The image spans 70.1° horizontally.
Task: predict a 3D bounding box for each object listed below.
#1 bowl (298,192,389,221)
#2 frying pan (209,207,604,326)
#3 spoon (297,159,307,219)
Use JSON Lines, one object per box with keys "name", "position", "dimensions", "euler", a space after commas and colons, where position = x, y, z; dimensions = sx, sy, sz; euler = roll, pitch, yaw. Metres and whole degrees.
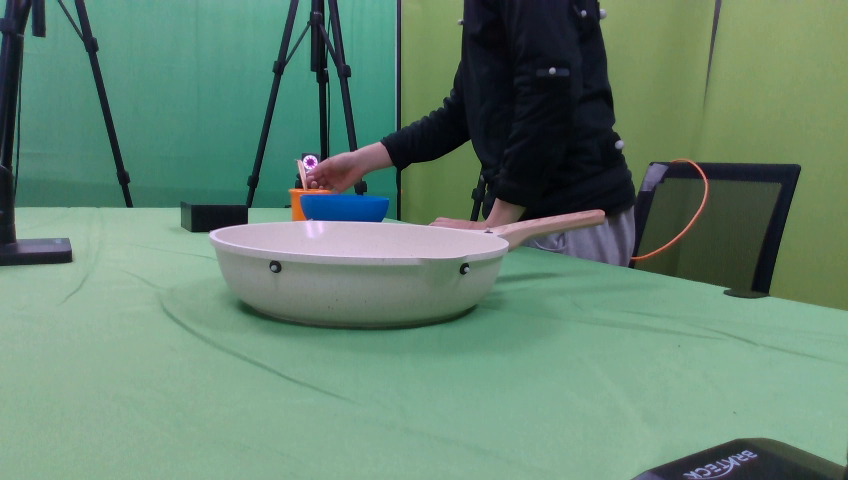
{"name": "bowl", "position": [-0.136, -0.037, 1.018], "dimensions": [0.151, 0.077, 0.151], "euler": [3, 7, 0]}
{"name": "frying pan", "position": [0.026, 0.005, 0.665], "dimensions": [0.490, 0.102, 0.305], "euler": [-12, 14, -30]}
{"name": "spoon", "position": [-0.264, -0.113, 1.338], "dimensions": [0.042, 0.193, 0.021], "euler": [0, -37, -21]}
